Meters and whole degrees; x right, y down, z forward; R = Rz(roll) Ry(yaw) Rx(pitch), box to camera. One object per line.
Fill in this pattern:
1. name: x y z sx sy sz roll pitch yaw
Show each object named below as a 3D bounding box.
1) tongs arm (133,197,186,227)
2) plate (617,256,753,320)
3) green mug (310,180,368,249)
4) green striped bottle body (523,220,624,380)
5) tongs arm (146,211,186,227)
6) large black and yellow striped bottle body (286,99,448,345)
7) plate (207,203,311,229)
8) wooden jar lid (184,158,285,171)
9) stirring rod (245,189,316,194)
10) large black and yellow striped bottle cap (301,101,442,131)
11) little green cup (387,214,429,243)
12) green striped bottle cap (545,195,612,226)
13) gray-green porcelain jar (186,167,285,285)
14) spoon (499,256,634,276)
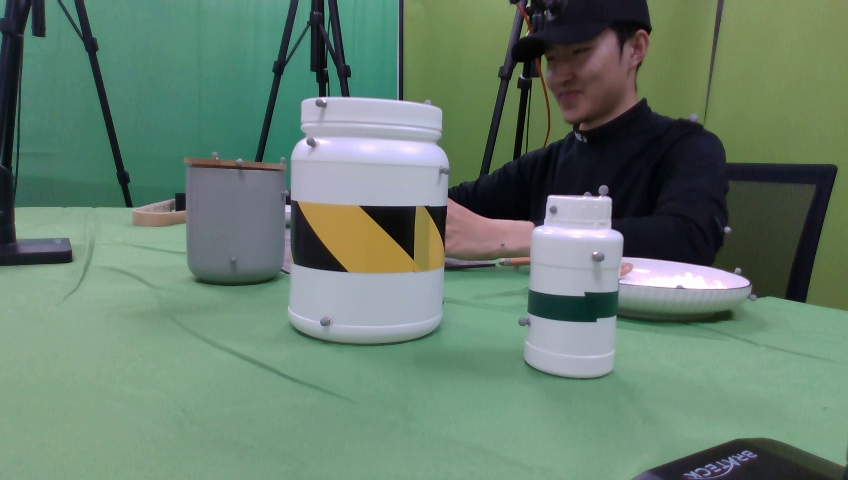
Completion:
1. tongs arm: -0.556 -0.067 1.320 0.051 0.026 0.384 7 7 -5
2. plate: 0.234 0.049 0.651 0.209 0.038 0.209 2 7 0
3. green mug: -0.131 -0.044 0.981 0.092 0.105 0.125 4 8 14
4. green striped bottle body: 0.104 0.031 0.422 0.063 0.119 0.063 2 8 0
5. tongs arm: -0.478 -0.059 1.321 0.028 0.028 0.388 12 9 7
6. large black and yellow striped bottle body: -0.047 -0.018 0.501 0.131 0.184 0.130 2 7 0
7. plate: -0.342 -0.050 1.259 0.208 0.039 0.207 2 7 0
8. wooden jar lid: -0.210 -0.078 0.674 0.108 0.020 0.108 5 6 0
9. stirring rod: -0.351 -0.120 1.489 0.177 0.014 0.006 -3 6 -29
10. large black and yellow striped bottle cap: -0.042 -0.100 0.491 0.115 0.019 0.115 1 8 0
11. little green cup: -0.023 -0.016 0.872 0.061 0.038 0.061 4 6 0
12. green striped bottle cap: 0.106 -0.020 0.415 0.044 0.020 0.044 2 4 0
13. gray-green porcelain jar: -0.212 -0.017 0.682 0.106 0.126 0.106 2 7 0
14. spoon: 0.162 0.027 0.679 0.195 0.021 0.041 8 3 -30
